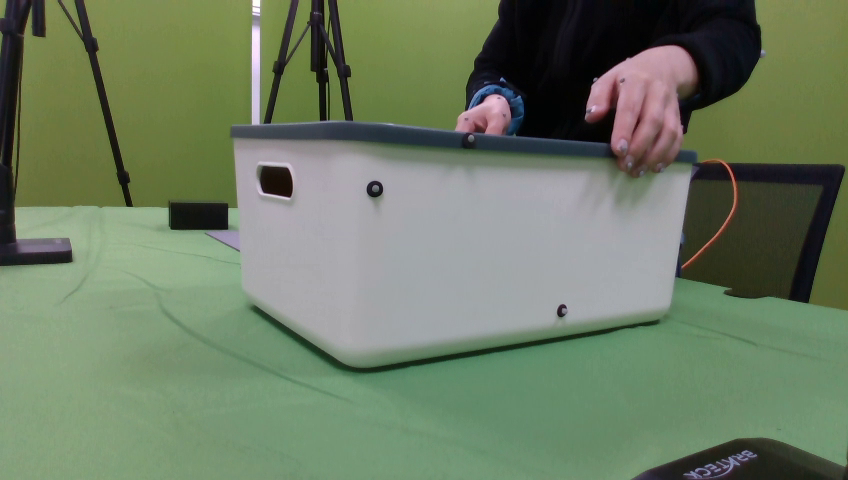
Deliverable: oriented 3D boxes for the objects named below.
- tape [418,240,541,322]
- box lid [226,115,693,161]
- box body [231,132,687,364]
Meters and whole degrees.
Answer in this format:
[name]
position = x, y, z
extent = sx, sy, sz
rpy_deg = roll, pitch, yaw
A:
[tape]
position = 0.052, 0.035, 0.571
extent = 0.117, 0.052, 0.117
rpy_deg = 1, 10, 0
[box lid]
position = 0.031, -0.086, 0.554
extent = 0.373, 0.015, 0.262
rpy_deg = -2, 8, -33
[box body]
position = 0.031, -0.013, 0.563
extent = 0.366, 0.160, 0.253
rpy_deg = -3, 8, -33
